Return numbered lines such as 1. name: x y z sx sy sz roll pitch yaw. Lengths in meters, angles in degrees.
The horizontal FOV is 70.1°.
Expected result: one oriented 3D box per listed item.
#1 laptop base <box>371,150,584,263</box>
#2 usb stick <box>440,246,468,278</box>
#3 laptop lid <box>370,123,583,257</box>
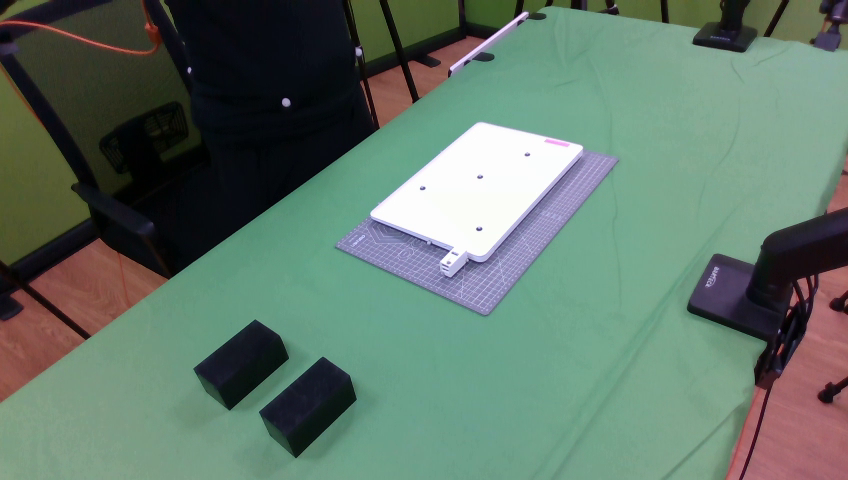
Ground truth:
1. laptop base: 0.102 -0.096 1.071 0.233 0.023 0.355 19 47 32
2. usb stick: 0.050 0.029 0.911 0.021 0.027 0.059 24 47 32
3. laptop lid: 0.099 -0.106 1.064 0.240 0.013 0.358 22 48 33
